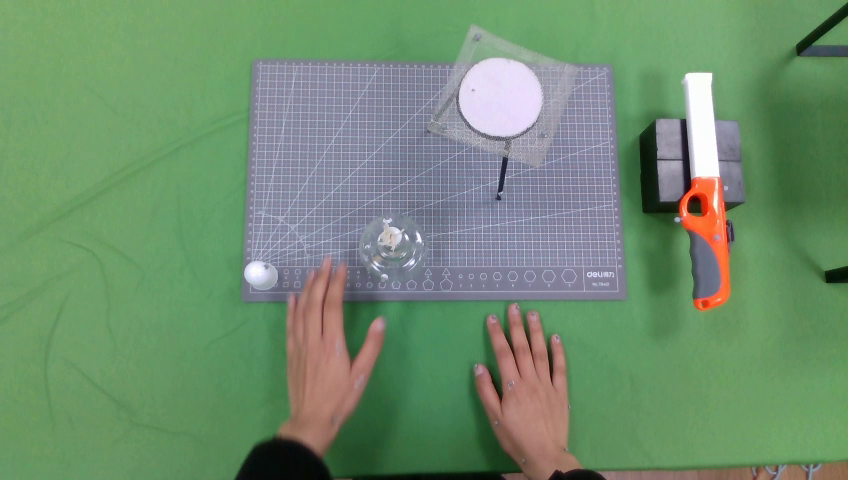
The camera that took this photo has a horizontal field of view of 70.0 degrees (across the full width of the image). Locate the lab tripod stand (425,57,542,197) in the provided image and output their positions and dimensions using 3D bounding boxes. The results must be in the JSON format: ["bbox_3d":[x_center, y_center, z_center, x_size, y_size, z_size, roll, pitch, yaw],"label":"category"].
[{"bbox_3d":[0.075,-0.136,0.679,0.148,0.132,0.147,1,77,-2],"label":"lab tripod stand"}]

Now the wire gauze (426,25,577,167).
[{"bbox_3d":[0.080,-0.146,0.613,0.121,0.011,0.124,22,78,1],"label":"wire gauze"}]

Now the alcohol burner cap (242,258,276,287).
[{"bbox_3d":[-0.188,0.035,0.681,0.034,0.048,0.033,1,79,-3],"label":"alcohol burner cap"}]

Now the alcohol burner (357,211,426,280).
[{"bbox_3d":[-0.036,0.003,0.658,0.078,0.119,0.077,1,81,-3],"label":"alcohol burner"}]

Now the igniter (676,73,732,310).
[{"bbox_3d":[0.314,-0.059,0.687,0.057,0.025,0.275,0,79,3],"label":"igniter"}]
